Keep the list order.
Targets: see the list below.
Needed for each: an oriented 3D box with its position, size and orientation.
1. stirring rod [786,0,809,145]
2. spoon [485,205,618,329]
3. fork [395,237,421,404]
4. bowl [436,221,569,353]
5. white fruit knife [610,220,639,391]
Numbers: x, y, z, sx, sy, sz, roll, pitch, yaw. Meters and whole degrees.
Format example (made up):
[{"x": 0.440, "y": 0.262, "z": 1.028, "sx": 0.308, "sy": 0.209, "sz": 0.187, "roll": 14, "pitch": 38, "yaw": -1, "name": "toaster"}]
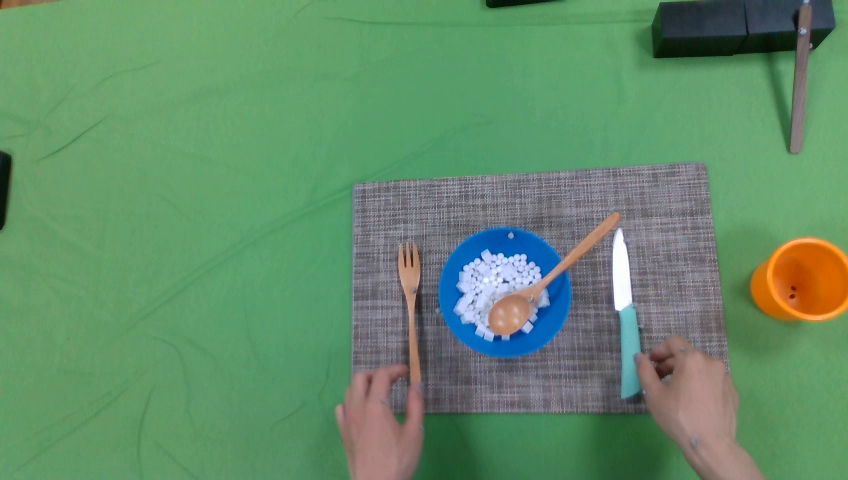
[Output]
[{"x": 0.452, "y": -0.204, "z": 0.734, "sx": 0.014, "sy": 0.006, "sz": 0.176, "roll": 0, "pitch": 98, "yaw": 4, "name": "stirring rod"}, {"x": 0.144, "y": 0.031, "z": 0.680, "sx": 0.194, "sy": 0.022, "sz": 0.041, "roll": -45, "pitch": 81, "yaw": 17, "name": "spoon"}, {"x": -0.017, "y": 0.097, "z": 0.754, "sx": 0.028, "sy": 0.019, "sz": 0.206, "roll": -4, "pitch": 76, "yaw": -3, "name": "fork"}, {"x": 0.092, "y": 0.059, "z": 0.716, "sx": 0.151, "sy": 0.077, "sz": 0.150, "roll": -2, "pitch": 78, "yaw": 7, "name": "bowl"}, {"x": 0.239, "y": 0.075, "z": 0.726, "sx": 0.027, "sy": 0.016, "sz": 0.206, "roll": 1, "pitch": 78, "yaw": -3, "name": "white fruit knife"}]
